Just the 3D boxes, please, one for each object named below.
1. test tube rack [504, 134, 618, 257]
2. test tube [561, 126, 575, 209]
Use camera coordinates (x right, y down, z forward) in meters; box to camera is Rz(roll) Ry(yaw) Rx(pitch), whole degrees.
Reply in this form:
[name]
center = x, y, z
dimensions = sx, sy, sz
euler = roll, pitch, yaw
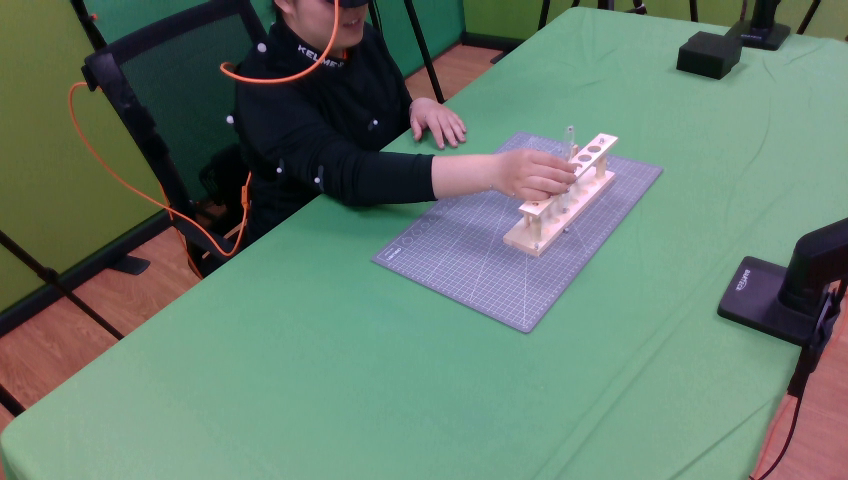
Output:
[test tube rack]
center = 0.225, -0.083, 0.985
dimensions = 0.066, 0.085, 0.243
euler = 25, 51, 34
[test tube]
center = 0.222, -0.108, 0.937
dimensions = 0.017, 0.151, 0.017
euler = -5, 41, 4
